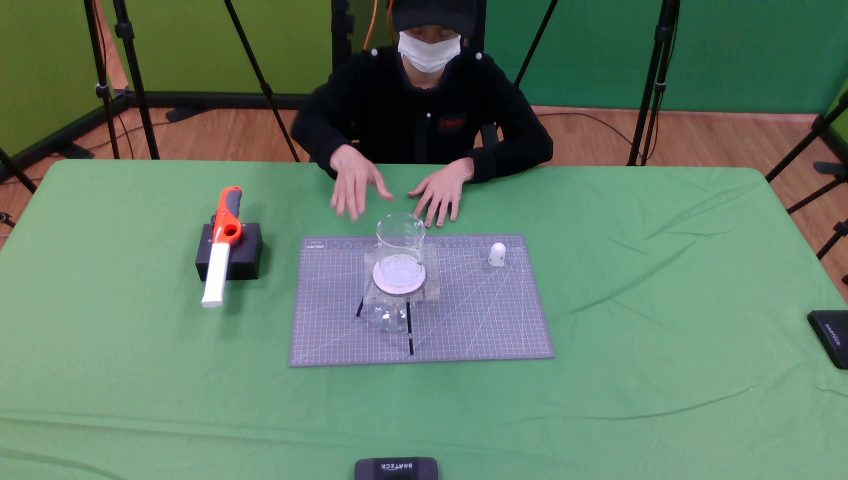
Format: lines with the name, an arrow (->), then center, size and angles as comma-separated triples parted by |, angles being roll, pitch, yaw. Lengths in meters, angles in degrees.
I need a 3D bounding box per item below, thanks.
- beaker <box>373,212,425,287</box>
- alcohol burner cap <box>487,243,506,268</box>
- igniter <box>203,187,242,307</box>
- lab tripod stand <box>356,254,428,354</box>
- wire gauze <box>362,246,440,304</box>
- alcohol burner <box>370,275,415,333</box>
beaker -> -0.036, 0.019, 0.936 | 0.074, 0.101, 0.083 | -29, 54, -26
alcohol burner cap -> 0.141, 0.027, 1.166 | 0.034, 0.048, 0.033 | 2, 45, -2
igniter -> -0.364, 0.003, 1.098 | 0.057, 0.025, 0.274 | -1, 49, -7
lab tripod stand -> -0.046, 0.100, 1.017 | 0.148, 0.132, 0.147 | 1, 47, -1
wire gauze -> -0.038, 0.052, 0.972 | 0.121, 0.011, 0.124 | 0, 44, -5
alcohol burner -> -0.054, 0.103, 1.026 | 0.078, 0.120, 0.077 | 1, 44, -1
